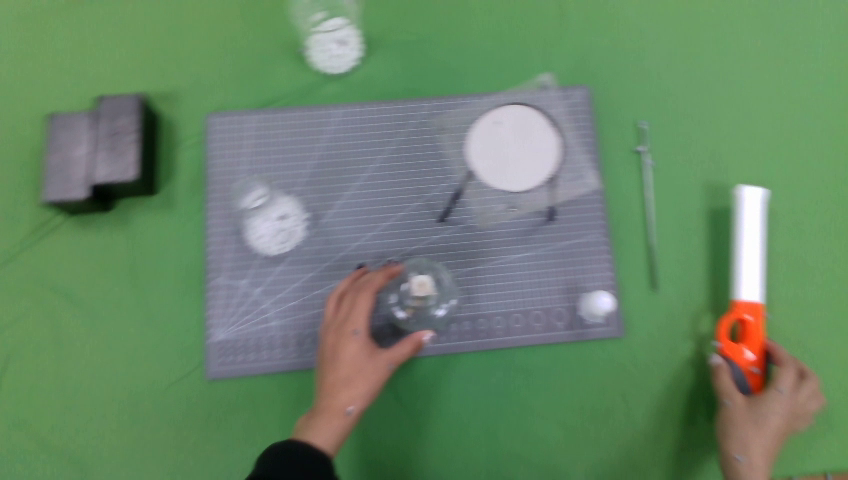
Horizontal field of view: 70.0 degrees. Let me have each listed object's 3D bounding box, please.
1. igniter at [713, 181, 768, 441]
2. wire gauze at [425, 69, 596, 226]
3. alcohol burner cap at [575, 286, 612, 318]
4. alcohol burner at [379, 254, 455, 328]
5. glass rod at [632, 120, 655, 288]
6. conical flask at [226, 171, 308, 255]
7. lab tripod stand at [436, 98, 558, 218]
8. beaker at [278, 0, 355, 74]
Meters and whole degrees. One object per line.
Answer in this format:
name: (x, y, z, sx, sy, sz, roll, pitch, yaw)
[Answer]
igniter: (0.337, 0.073, 0.645, 0.057, 0.025, 0.275, 6, 80, -4)
wire gauze: (0.079, -0.086, 0.560, 0.125, 0.011, 0.121, -21, 80, -5)
alcohol burner cap: (0.184, 0.064, 0.647, 0.034, 0.048, 0.033, 1, 78, -2)
alcohol burner: (-0.006, 0.049, 0.609, 0.078, 0.119, 0.077, 1, 77, -3)
glass rod: (0.249, -0.043, 0.692, 0.008, 0.008, 0.198, -1, 78, -2)
conical flask: (-0.165, -0.032, 0.617, 0.075, 0.122, 0.075, 0, 78, -1)
lab tripod stand: (0.078, -0.074, 0.627, 0.148, 0.132, 0.148, 0, 80, -1)
beaker: (-0.114, -0.240, 0.678, 0.074, 0.100, 0.084, 43, 80, 7)
